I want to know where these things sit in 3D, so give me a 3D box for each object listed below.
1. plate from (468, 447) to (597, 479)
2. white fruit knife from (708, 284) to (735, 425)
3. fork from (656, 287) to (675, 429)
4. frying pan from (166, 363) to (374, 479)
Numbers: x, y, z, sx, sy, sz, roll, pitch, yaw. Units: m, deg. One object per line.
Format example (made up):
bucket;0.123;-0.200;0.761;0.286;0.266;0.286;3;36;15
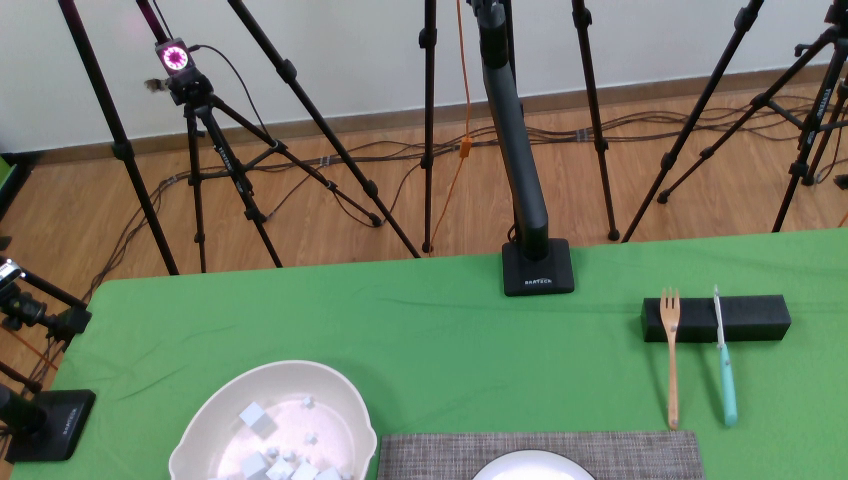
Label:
plate;0.143;0.376;0.785;0.207;0.039;0.205;-6;50;7
white fruit knife;0.428;0.161;0.881;0.016;0.027;0.206;-1;66;9
fork;0.358;0.170;0.889;0.028;0.019;0.206;3;70;8
frying pan;-0.217;0.391;0.806;0.306;0.104;0.483;-7;41;7
